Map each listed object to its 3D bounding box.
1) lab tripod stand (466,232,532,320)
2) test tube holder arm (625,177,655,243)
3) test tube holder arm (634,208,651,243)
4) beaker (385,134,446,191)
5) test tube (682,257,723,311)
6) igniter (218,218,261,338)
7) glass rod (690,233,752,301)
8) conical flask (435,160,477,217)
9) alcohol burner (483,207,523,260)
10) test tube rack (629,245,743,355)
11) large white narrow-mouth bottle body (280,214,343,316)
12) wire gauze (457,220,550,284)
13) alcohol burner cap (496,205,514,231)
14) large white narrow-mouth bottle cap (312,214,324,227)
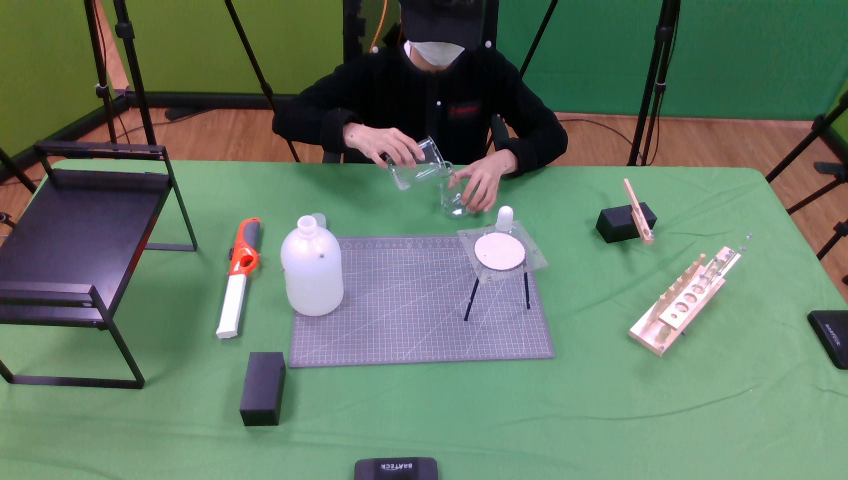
[{"bbox_3d":[0.125,0.059,1.065,0.148,0.132,0.147,1,45,0],"label":"lab tripod stand"},{"bbox_3d":[0.433,-0.063,1.220,0.013,0.015,0.177,1,47,-3],"label":"test tube holder arm"},{"bbox_3d":[0.428,-0.030,1.189,0.010,0.015,0.087,2,47,-2],"label":"test tube holder arm"},{"bbox_3d":[-0.017,-0.142,1.148,0.100,0.084,0.073,-27,47,-1],"label":"beaker"},{"bbox_3d":[0.474,0.080,1.037,0.017,0.151,0.017,1,50,-1],"label":"test tube"},{"bbox_3d":[-0.336,0.060,1.111,0.057,0.025,0.274,-7,46,4],"label":"igniter"},{"bbox_3d":[0.507,0.053,1.041,0.008,0.200,0.008,5,51,-6],"label":"glass rod"},{"bbox_3d":[0.057,-0.108,1.226,0.075,0.122,0.075,-11,51,14],"label":"conical flask"},{"bbox_3d":[0.152,-0.018,1.156,0.078,0.120,0.077,0,47,0],"label":"alcohol burner"},{"bbox_3d":[0.474,0.095,1.091,0.242,0.085,0.066,-34,56,-31],"label":"test tube rack"},{"bbox_3d":[-0.190,0.035,1.025,0.102,0.195,0.101,2,46,-2],"label":"large white narrow-mouth bottle body"},{"bbox_3d":[0.131,0.014,1.016,0.121,0.011,0.124,-11,46,-14],"label":"wire gauze"},{"bbox_3d":[0.153,-0.045,1.131,0.034,0.048,0.033,2,40,-1],"label":"alcohol burner cap"},{"bbox_3d":[-0.219,-0.033,1.214,0.038,0.024,0.037,2,46,-2],"label":"large white narrow-mouth bottle cap"}]
